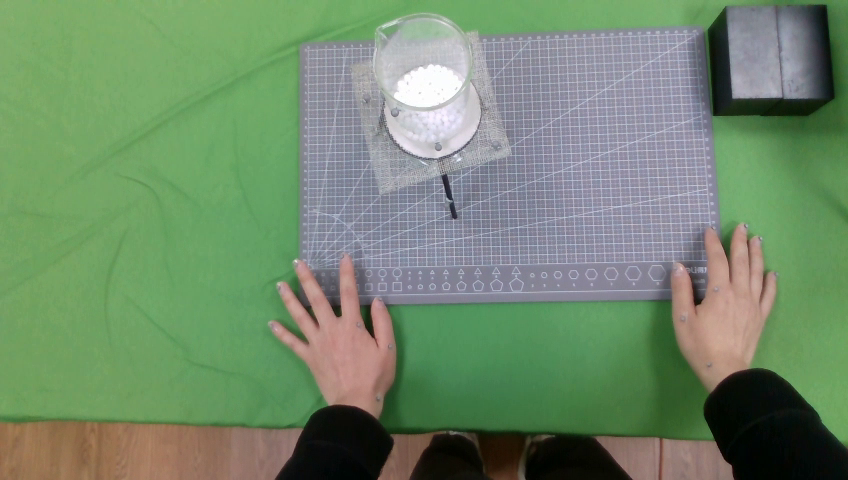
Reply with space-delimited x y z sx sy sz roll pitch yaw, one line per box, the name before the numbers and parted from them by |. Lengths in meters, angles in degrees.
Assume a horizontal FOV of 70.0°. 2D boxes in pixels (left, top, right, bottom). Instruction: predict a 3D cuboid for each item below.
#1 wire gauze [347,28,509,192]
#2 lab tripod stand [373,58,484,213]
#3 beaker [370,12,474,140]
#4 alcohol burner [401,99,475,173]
wire gauze | 0.002 -0.117 0.537 0.121 0.011 0.125 -15 86 3
lab tripod stand | 0.011 -0.107 0.602 0.148 0.132 0.148 0 83 2
beaker | -0.002 -0.128 0.490 0.084 0.100 0.074 40 87 7
alcohol burner | 0.013 -0.111 0.612 0.078 0.119 0.077 -1 81 5
